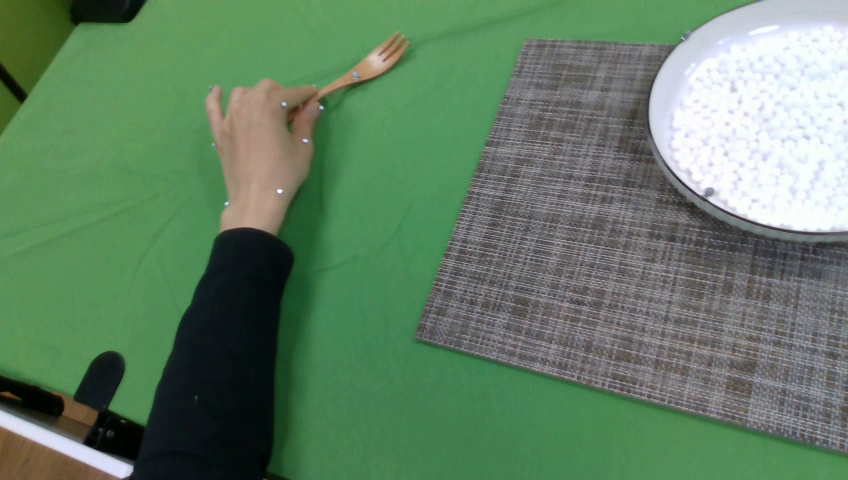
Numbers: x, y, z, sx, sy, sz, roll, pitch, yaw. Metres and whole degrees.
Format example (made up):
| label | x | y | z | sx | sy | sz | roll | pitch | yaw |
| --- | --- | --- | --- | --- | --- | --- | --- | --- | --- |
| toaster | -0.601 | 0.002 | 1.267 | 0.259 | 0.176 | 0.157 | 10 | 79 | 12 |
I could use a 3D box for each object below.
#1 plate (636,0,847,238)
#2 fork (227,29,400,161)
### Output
| label | x | y | z | sx | sy | sz | roll | pitch | yaw |
| --- | --- | --- | --- | --- | --- | --- | --- | --- | --- |
| plate | 0.260 | -0.091 | 0.432 | 0.208 | 0.038 | 0.207 | -8 | 62 | 15 |
| fork | -0.110 | -0.142 | 0.599 | 0.207 | 0.019 | 0.028 | -35 | 73 | -3 |
